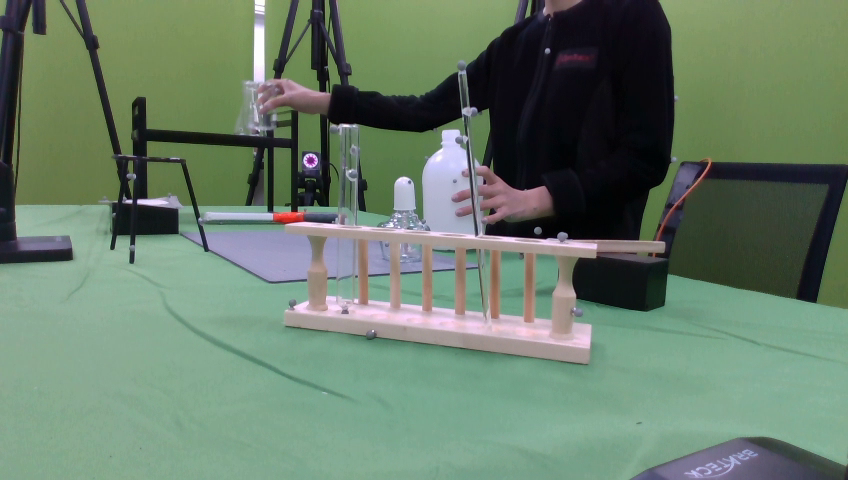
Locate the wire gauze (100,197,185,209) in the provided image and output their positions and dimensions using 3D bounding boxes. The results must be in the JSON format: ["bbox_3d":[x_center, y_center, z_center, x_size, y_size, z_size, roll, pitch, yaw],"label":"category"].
[{"bbox_3d":[-0.469,-0.062,1.008,0.126,0.011,0.121,-2,8,-25],"label":"wire gauze"}]

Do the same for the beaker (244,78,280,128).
[{"bbox_3d":[-0.346,-0.291,1.287,0.074,0.100,0.084,3,14,-3],"label":"beaker"}]

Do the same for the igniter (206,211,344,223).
[{"bbox_3d":[-0.302,-0.048,1.249,0.278,0.025,0.057,-2,-2,-27],"label":"igniter"}]

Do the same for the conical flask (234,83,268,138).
[{"bbox_3d":[-0.399,-0.298,1.396,0.075,0.122,0.075,2,8,0],"label":"conical flask"}]

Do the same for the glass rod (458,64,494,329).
[{"bbox_3d":[0.039,-0.029,0.449,0.008,0.199,0.008,-7,9,1],"label":"glass rod"}]

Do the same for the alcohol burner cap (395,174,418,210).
[{"bbox_3d":[-0.026,-0.067,0.833,0.034,0.048,0.034,-1,12,1],"label":"alcohol burner cap"}]

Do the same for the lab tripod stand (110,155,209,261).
[{"bbox_3d":[-0.361,-0.046,0.806,0.148,0.131,0.148,2,5,0],"label":"lab tripod stand"}]

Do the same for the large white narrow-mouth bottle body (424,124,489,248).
[{"bbox_3d":[0.051,-0.088,0.981,0.102,0.194,0.102,-3,7,1],"label":"large white narrow-mouth bottle body"}]

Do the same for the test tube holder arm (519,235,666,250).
[{"bbox_3d":[0.185,0.003,0.656,0.179,0.015,0.013,-1,15,-19],"label":"test tube holder arm"}]

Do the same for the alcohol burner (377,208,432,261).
[{"bbox_3d":[-0.027,-0.031,0.838,0.078,0.119,0.078,0,6,0],"label":"alcohol burner"}]

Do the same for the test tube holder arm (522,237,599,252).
[{"bbox_3d":[0.144,0.005,0.636,0.088,0.015,0.010,-1,15,-19],"label":"test tube holder arm"}]

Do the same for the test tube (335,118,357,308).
[{"bbox_3d":[-0.061,-0.019,0.476,0.017,0.150,0.017,2,11,0],"label":"test tube"}]

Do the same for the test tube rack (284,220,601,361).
[{"bbox_3d":[0.013,0.032,0.482,0.242,0.085,0.067,4,7,16],"label":"test tube rack"}]

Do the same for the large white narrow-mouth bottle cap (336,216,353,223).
[{"bbox_3d":[-0.161,-0.036,1.231,0.038,0.024,0.037,2,8,0],"label":"large white narrow-mouth bottle cap"}]
